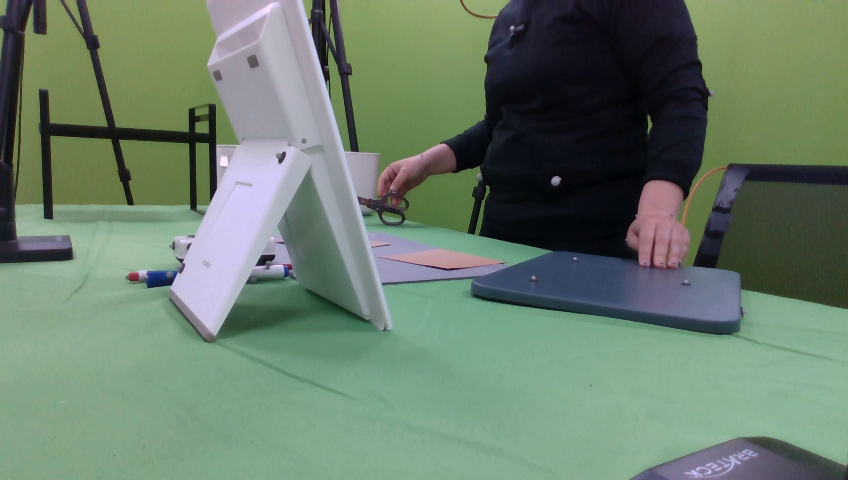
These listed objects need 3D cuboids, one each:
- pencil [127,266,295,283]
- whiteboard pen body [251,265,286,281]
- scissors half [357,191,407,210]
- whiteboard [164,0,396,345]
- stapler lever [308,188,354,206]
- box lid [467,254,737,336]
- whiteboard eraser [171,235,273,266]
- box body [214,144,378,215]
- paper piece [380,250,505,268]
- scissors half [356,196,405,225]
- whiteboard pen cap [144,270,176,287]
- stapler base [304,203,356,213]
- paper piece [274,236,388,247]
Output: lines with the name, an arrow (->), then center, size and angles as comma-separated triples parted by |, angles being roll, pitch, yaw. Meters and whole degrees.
pencil -> -0.231, 0.037, 0.691 | 0.195, 0.012, 0.012 | -2, 9, -34
whiteboard pen body -> -0.220, 0.039, 0.656 | 0.141, 0.017, 0.017 | -2, 9, -30
scissors half -> -0.123, -0.091, 1.318 | 0.175, 0.040, 0.013 | 5, 9, -3
whiteboard -> -0.173, -0.053, 0.511 | 0.144, 0.305, 0.216 | -23, 19, -26
stapler lever -> -0.231, -0.106, 1.509 | 0.119, 0.040, 0.026 | 2, 9, -35
box lid -> 0.234, 0.055, 0.735 | 0.262, 0.015, 0.373 | 7, 7, 27
whiteboard eraser -> -0.248, 0.014, 0.747 | 0.113, 0.042, 0.055 | -1, 10, -32
box body -> -0.328, -0.154, 1.543 | 0.366, 0.160, 0.253 | -2, 9, -32
paper piece -> 0.025, 0.026, 0.865 | 0.134, 0.004, 0.136 | 8, 8, 43
scissors half -> -0.127, -0.072, 1.321 | 0.175, 0.040, 0.013 | 21, 3, -4
whiteboard pen cap -> -0.271, 0.039, 0.627 | 0.033, 0.018, 0.018 | -3, 10, -32
stapler base -> -0.235, -0.081, 1.511 | 0.131, 0.024, 0.041 | 2, 9, -35
paper piece -> -0.151, 0.003, 0.978 | 0.135, 0.008, 0.139 | 13, 10, 35
